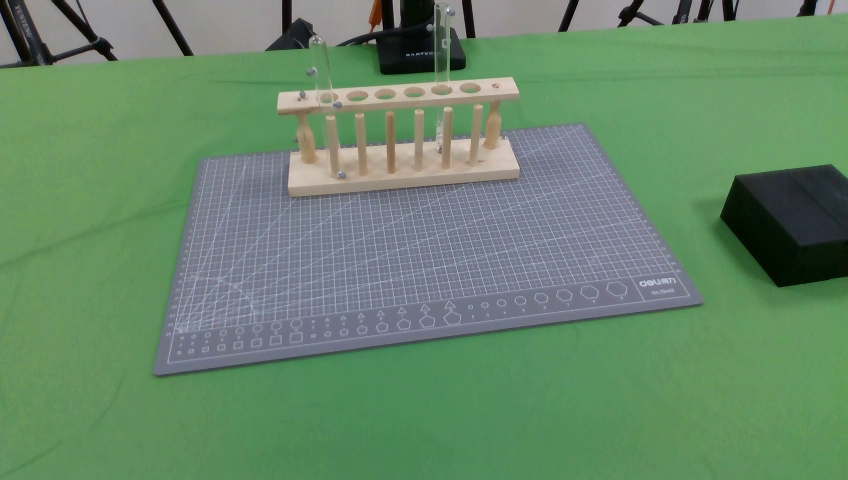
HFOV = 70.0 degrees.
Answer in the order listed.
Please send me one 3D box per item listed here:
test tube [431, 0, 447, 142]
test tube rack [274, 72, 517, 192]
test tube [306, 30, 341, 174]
[{"bbox_3d":[0.015,-0.167,0.615,0.017,0.151,0.017,-1,39,1],"label":"test tube"},{"bbox_3d":[-0.026,-0.113,0.630,0.243,0.086,0.066,-5,43,-5],"label":"test tube rack"},{"bbox_3d":[-0.095,-0.127,0.581,0.017,0.152,0.017,-1,42,1],"label":"test tube"}]
